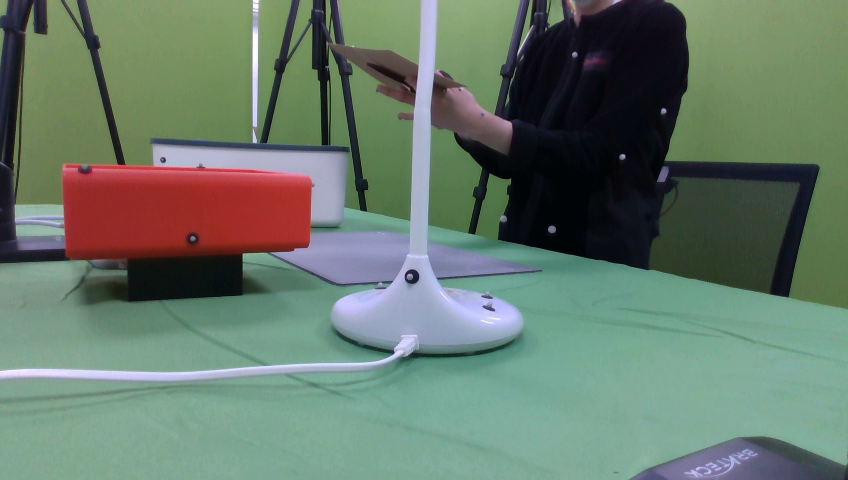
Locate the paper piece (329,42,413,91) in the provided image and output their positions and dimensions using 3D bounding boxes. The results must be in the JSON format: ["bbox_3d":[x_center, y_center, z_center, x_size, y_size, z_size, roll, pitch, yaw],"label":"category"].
[{"bbox_3d":[-0.082,-0.282,0.987,0.136,0.004,0.135,29,5,-31],"label":"paper piece"}]

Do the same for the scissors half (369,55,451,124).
[{"bbox_3d":[-0.021,-0.238,0.960,0.176,0.040,0.012,36,-11,-33],"label":"scissors half"}]

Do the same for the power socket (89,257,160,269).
[{"bbox_3d":[-0.409,0.004,0.793,0.072,0.032,0.225,-2,8,-38],"label":"power socket"}]

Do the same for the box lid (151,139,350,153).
[{"bbox_3d":[-0.352,-0.191,1.255,0.373,0.015,0.262,0,8,-18],"label":"box lid"}]

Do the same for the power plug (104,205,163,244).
[{"bbox_3d":[-0.390,-0.021,0.815,0.073,0.052,0.035,-1,7,-27],"label":"power plug"}]

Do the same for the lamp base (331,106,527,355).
[{"bbox_3d":[0.006,-0.012,0.478,0.161,0.180,0.179,2,10,2],"label":"lamp base"}]

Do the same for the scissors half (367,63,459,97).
[{"bbox_3d":[-0.014,-0.260,0.961,0.176,0.040,0.013,2,3,-35],"label":"scissors half"}]

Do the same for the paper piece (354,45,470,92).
[{"bbox_3d":[-0.020,-0.248,0.877,0.139,0.008,0.135,20,8,-32],"label":"paper piece"}]

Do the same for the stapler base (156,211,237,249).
[{"bbox_3d":[-0.227,-0.017,0.624,0.041,0.024,0.130,18,10,-2],"label":"stapler base"}]

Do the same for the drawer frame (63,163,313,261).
[{"bbox_3d":[-0.248,-0.036,0.626,0.215,0.082,0.200,-3,9,-31],"label":"drawer frame"}]

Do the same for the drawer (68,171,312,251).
[{"bbox_3d":[-0.247,-0.037,0.629,0.213,0.073,0.193,-2,9,-30],"label":"drawer"}]

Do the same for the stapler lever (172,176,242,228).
[{"bbox_3d":[-0.218,-0.041,0.618,0.027,0.040,0.118,18,11,-2],"label":"stapler lever"}]

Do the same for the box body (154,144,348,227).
[{"bbox_3d":[-0.357,-0.119,1.264,0.365,0.160,0.253,0,7,-18],"label":"box body"}]
